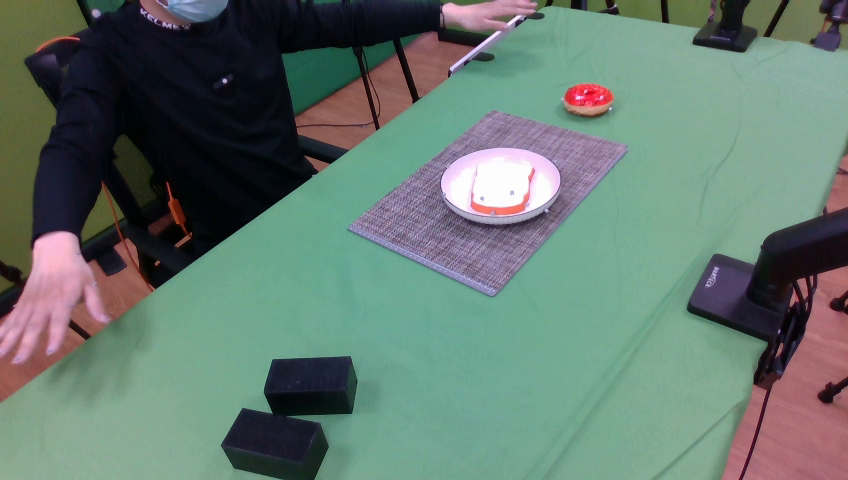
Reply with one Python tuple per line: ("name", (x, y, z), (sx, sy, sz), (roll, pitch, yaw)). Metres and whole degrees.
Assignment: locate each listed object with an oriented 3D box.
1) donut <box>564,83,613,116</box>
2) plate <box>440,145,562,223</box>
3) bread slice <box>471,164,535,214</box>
("donut", (0.336, -0.288, 1.239), (0.099, 0.048, 0.098), (-3, 38, 3))
("plate", (0.131, -0.093, 1.040), (0.207, 0.039, 0.206), (-4, 41, 4))
("bread slice", (0.134, -0.090, 1.038), (0.104, 0.019, 0.131), (3, 41, 13))
